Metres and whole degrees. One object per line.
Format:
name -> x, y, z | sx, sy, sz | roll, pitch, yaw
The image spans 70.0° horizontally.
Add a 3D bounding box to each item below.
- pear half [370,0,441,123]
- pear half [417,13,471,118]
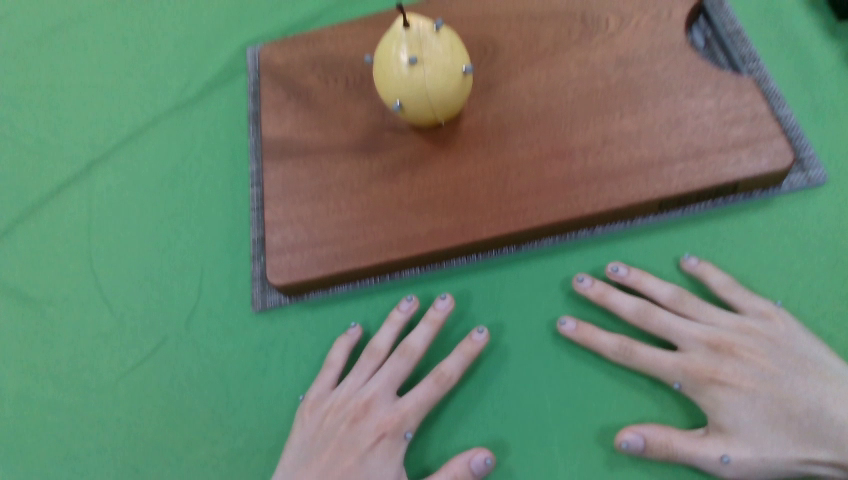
pear half -> -0.018, -0.141, 0.466 | 0.056, 0.111, 0.075 | -5, 59, 12
pear half -> 0.019, -0.137, 0.468 | 0.031, 0.089, 0.070 | -6, 56, 12
